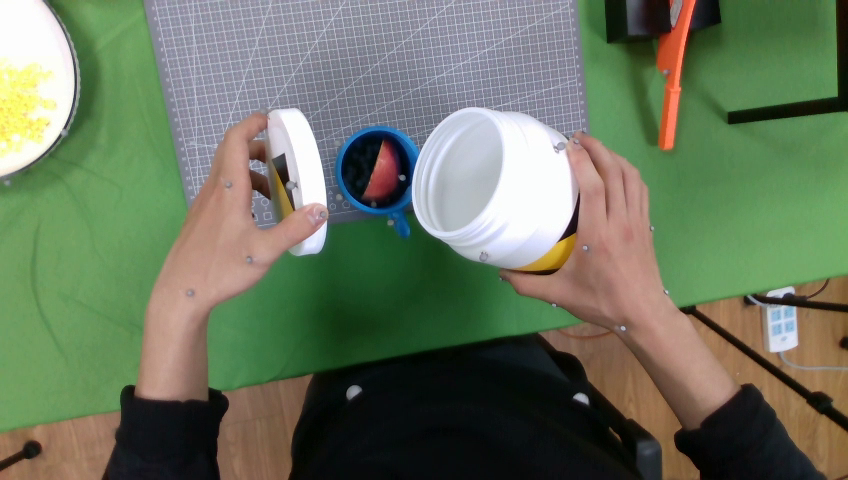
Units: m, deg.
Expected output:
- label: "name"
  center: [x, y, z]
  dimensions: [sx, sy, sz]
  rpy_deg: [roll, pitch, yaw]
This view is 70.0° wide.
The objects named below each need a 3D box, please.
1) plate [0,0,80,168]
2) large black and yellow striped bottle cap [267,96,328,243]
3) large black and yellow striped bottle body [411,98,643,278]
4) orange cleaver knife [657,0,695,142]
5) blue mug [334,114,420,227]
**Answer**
- label: "plate"
  center: [-0.431, -0.169, 0.566]
  dimensions: [0.209, 0.038, 0.209]
  rpy_deg: [-2, 99, -9]
- label: "large black and yellow striped bottle cap"
  center: [-0.101, -0.054, 0.476]
  dimensions: [0.019, 0.114, 0.115]
  rpy_deg: [-13, 101, -20]
- label: "large black and yellow striped bottle body"
  center: [0.092, -0.043, 0.539]
  dimensions: [0.185, 0.129, 0.131]
  rpy_deg: [15, 96, -39]
- label: "orange cleaver knife"
  center: [0.271, -0.213, 0.663]
  dimensions: [0.012, 0.076, 0.213]
  rpy_deg: [-7, 126, 0]
- label: "blue mug"
  center: [-0.042, -0.067, 0.615]
  dimensions: [0.082, 0.105, 0.117]
  rpy_deg: [-25, 102, -5]
